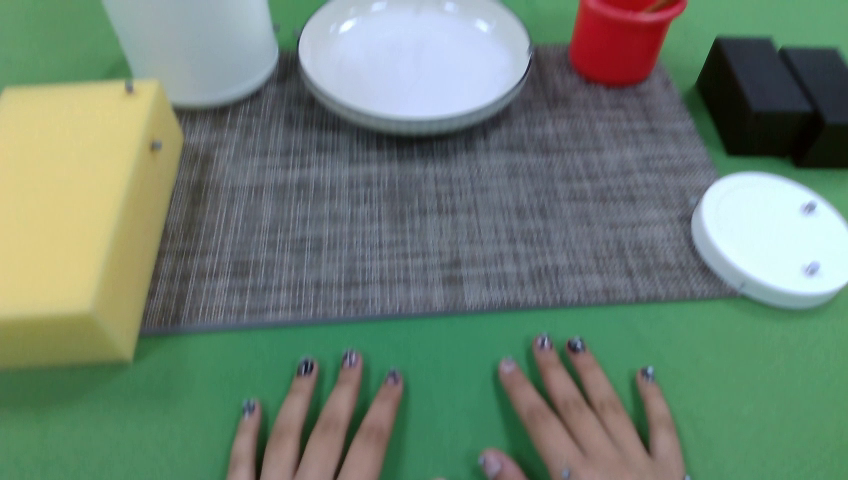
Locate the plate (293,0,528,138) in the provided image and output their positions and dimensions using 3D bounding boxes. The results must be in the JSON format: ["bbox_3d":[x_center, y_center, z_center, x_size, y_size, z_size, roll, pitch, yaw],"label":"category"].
[{"bbox_3d":[-0.012,-0.160,0.553,0.209,0.038,0.207,2,51,-2],"label":"plate"}]

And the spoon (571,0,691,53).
[{"bbox_3d":[0.212,-0.201,0.526,0.022,0.193,0.041,53,54,-19],"label":"spoon"}]

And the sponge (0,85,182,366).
[{"bbox_3d":[-0.251,-0.019,0.419,0.118,0.061,0.204,-4,51,-3],"label":"sponge"}]

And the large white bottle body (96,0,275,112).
[{"bbox_3d":[-0.203,-0.215,0.495,0.130,0.186,0.129,0,49,0],"label":"large white bottle body"}]

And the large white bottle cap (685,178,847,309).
[{"bbox_3d":[0.255,-0.001,0.452,0.115,0.018,0.113,3,52,-3],"label":"large white bottle cap"}]
